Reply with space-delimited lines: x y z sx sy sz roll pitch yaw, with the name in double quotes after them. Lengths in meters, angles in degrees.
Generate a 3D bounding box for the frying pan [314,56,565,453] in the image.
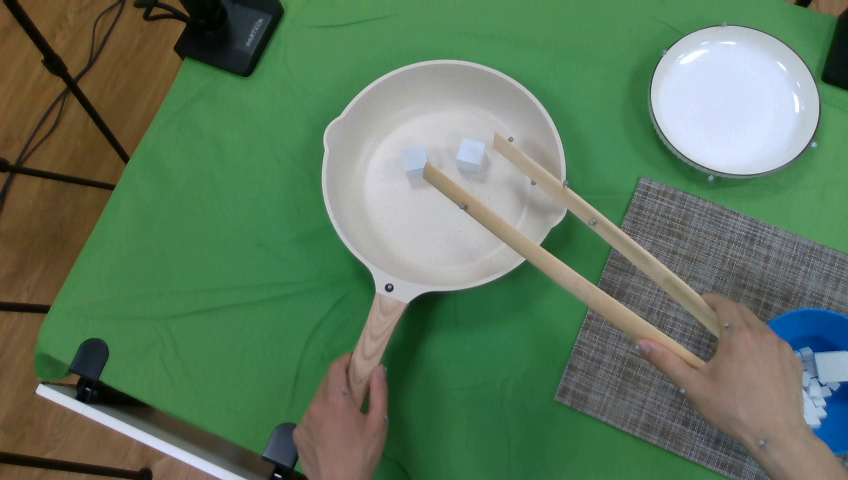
-0.018 0.010 0.713 0.306 0.103 0.485 21 70 9 "frying pan"

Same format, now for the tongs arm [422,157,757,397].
0.137 0.024 0.596 0.384 0.028 0.028 39 48 25 "tongs arm"

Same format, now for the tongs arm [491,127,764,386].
0.183 -0.001 0.626 0.051 0.027 0.381 -26 56 -30 "tongs arm"

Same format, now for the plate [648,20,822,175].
0.387 -0.177 0.768 0.207 0.039 0.206 -1 77 4 "plate"

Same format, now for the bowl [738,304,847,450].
0.411 0.149 0.664 0.151 0.077 0.150 -1 77 3 "bowl"
